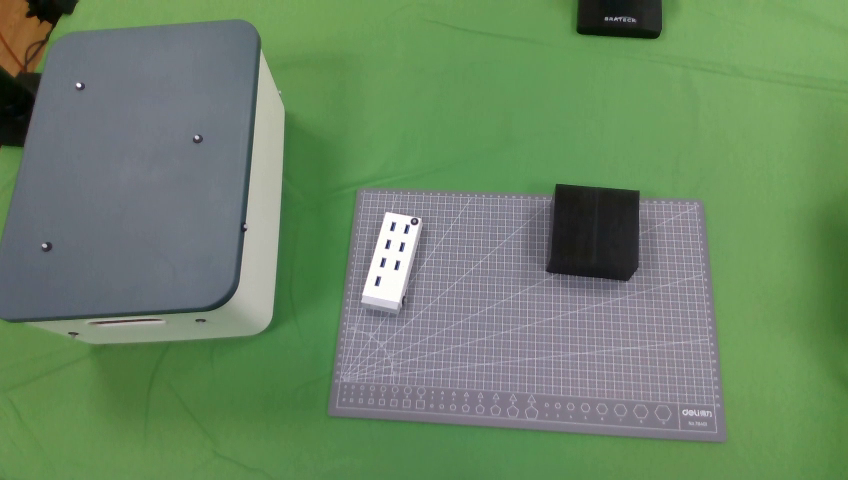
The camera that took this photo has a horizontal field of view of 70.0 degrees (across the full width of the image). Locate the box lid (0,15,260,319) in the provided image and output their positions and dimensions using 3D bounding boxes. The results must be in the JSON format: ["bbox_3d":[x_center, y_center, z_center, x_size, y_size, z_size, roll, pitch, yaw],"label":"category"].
[{"bbox_3d":[-0.322,-0.094,0.672,0.263,0.015,0.368,-4,68,3],"label":"box lid"}]

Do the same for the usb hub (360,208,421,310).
[{"bbox_3d":[-0.041,0.023,0.760,0.049,0.025,0.124,12,70,7],"label":"usb hub"}]

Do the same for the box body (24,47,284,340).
[{"bbox_3d":[-0.317,-0.067,0.742,0.254,0.161,0.361,-3,68,2],"label":"box body"}]
